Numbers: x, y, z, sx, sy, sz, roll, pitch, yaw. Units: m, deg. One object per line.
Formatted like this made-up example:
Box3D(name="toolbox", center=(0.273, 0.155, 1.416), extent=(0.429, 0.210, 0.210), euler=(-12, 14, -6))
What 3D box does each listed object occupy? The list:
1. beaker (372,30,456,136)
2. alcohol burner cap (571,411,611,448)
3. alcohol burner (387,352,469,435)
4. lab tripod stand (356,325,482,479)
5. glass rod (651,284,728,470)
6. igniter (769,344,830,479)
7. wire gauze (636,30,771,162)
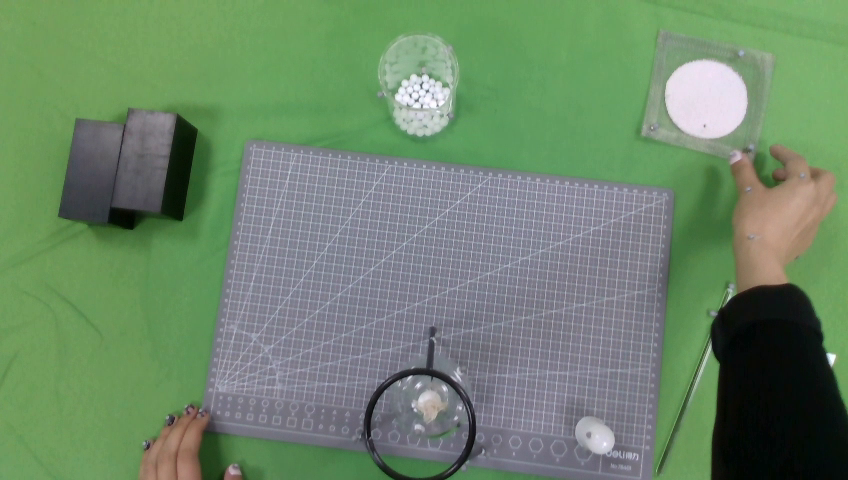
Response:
Box3D(name="beaker", center=(-0.005, -0.147, 0.596), extent=(0.074, 0.100, 0.084), euler=(-37, 85, -3))
Box3D(name="alcohol burner cap", center=(0.162, 0.185, 0.583), extent=(0.034, 0.048, 0.033), euler=(0, 81, 2))
Box3D(name="alcohol burner", center=(0.004, 0.142, 0.555), extent=(0.078, 0.119, 0.077), euler=(0, 81, 1))
Box3D(name="lab tripod stand", center=(-0.004, 0.150, 0.544), extent=(0.148, 0.132, 0.148), euler=(0, 82, 3))
Box3D(name="glass rod", center=(0.266, 0.135, 0.606), extent=(0.008, 0.008, 0.199), euler=(24, 85, 3))
Box3D(name="igniter", center=(0.348, 0.237, 0.584), extent=(0.057, 0.025, 0.276), euler=(16, 84, -8))
Box3D(name="wire gauze", center=(0.293, -0.154, 0.637), extent=(0.125, 0.011, 0.121), euler=(14, 84, 4))
